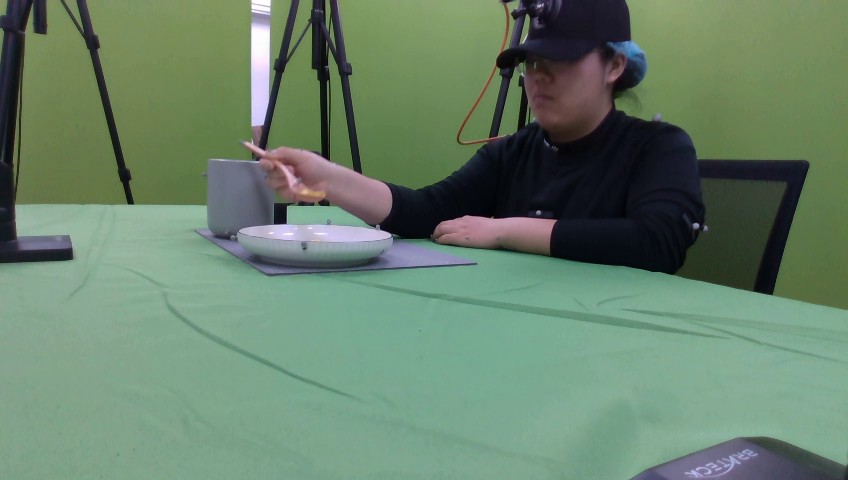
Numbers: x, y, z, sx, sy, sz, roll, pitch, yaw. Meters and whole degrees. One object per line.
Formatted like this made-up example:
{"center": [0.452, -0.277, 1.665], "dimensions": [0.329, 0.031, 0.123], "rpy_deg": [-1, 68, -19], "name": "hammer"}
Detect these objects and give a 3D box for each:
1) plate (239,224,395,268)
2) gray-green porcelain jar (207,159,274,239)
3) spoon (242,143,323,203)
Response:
{"center": [-0.144, 0.007, 0.823], "dimensions": [0.208, 0.039, 0.207], "rpy_deg": [3, 7, 0], "name": "plate"}
{"center": [-0.304, -0.068, 1.003], "dimensions": [0.106, 0.126, 0.106], "rpy_deg": [3, 7, 0], "name": "gray-green porcelain jar"}
{"center": [-0.210, -0.100, 0.876], "dimensions": [0.193, 0.021, 0.042], "rpy_deg": [40, 24, 33], "name": "spoon"}
